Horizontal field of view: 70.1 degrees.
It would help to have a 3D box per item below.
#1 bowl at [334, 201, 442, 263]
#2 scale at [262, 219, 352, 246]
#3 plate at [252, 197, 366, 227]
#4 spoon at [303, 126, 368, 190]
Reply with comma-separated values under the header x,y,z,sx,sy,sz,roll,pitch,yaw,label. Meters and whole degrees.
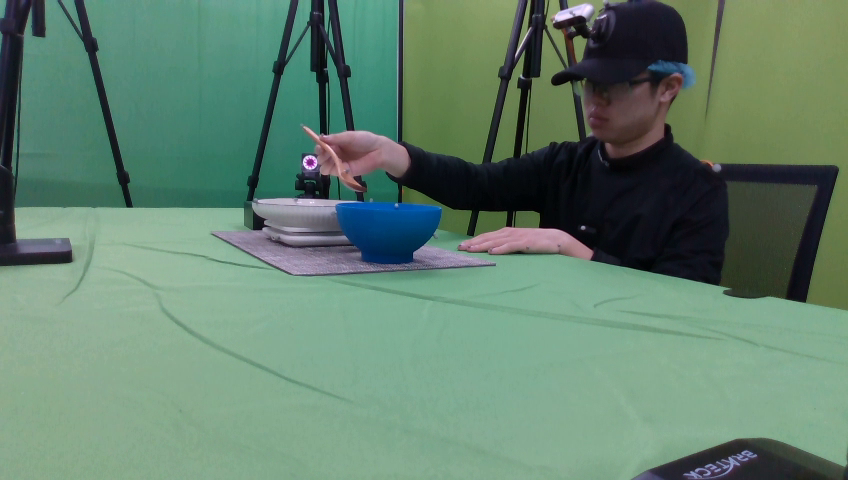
x,y,z,sx,sy,sz,roll,pitch,yaw,label
-0.051,-0.012,0.849,0.151,0.077,0.151,2,7,0,bowl
-0.160,-0.015,1.028,0.202,0.031,0.148,-2,8,-32,scale
-0.178,-0.047,1.012,0.209,0.038,0.209,2,6,0,plate
-0.146,-0.133,0.966,0.042,0.021,0.193,16,28,-50,spoon
